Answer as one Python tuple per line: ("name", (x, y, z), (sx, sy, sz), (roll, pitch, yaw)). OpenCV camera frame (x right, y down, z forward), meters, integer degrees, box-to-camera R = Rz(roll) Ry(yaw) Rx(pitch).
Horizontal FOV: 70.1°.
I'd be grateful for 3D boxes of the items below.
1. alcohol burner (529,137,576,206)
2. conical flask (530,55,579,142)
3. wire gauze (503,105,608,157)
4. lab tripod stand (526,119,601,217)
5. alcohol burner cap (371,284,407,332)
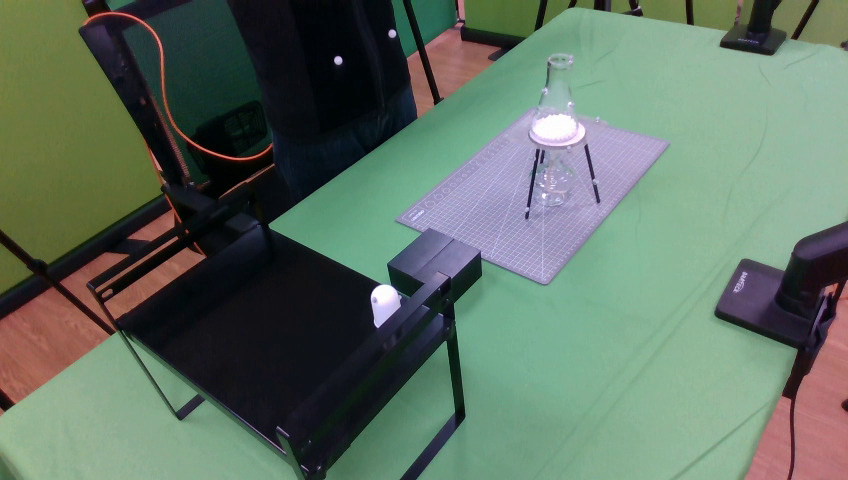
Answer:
("alcohol burner", (0.214, -0.117, 1.005), (0.078, 0.119, 0.077), (-4, 38, 4))
("conical flask", (0.200, -0.216, 0.914), (0.075, 0.122, 0.075), (-3, 41, 3))
("wire gauze", (0.208, -0.172, 0.954), (0.120, 0.011, 0.125), (22, 50, 32))
("lab tripod stand", (0.220, -0.122, 0.995), (0.148, 0.132, 0.147), (-3, 39, 3))
("alcohol burner cap", (-0.036, 0.066, 0.608), (0.034, 0.048, 0.033), (-5, 40, 5))
